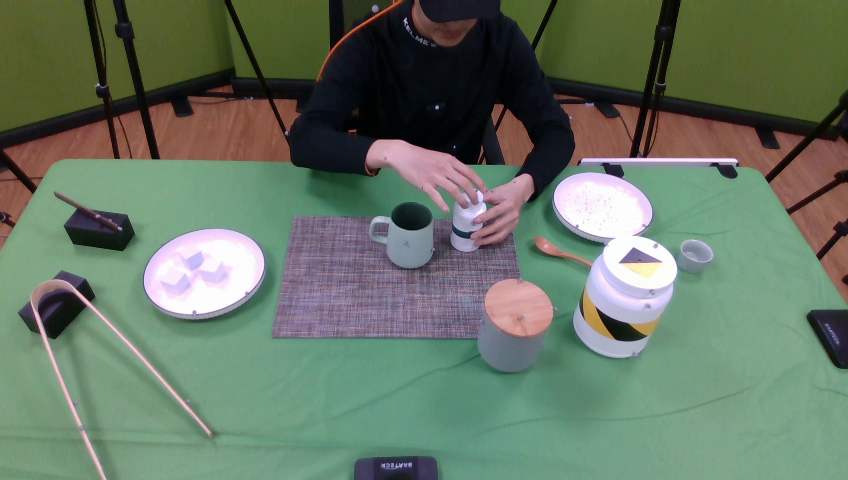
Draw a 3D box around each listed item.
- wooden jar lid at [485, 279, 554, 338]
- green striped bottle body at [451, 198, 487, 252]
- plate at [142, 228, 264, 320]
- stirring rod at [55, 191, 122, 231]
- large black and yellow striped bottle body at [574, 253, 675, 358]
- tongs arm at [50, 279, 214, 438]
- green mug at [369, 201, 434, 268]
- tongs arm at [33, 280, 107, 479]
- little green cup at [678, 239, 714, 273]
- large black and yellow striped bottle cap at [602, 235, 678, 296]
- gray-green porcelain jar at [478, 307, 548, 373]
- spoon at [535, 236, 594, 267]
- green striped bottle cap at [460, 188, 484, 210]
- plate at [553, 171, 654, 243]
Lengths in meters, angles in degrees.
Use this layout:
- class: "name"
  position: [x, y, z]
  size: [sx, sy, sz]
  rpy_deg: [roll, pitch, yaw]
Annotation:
- class: "wooden jar lid"
  position: [0.147, 0.108, 0.940]
  size: [0.108, 0.021, 0.107]
  rpy_deg: [4, 47, -5]
- class: "green striped bottle body"
  position: [0.087, -0.039, 1.166]
  size: [0.063, 0.120, 0.063]
  rpy_deg: [2, 46, -2]
- class: "plate"
  position: [-0.394, 0.064, 1.095]
  size: [0.208, 0.039, 0.206]
  rpy_deg: [2, 46, -2]
- class: "stirring rod"
  position: [-0.632, -0.055, 1.138]
  size: [0.175, 0.014, 0.006]
  rpy_deg: [24, 50, 19]
- class: "large black and yellow striped bottle body"
  position: [0.335, 0.096, 1.014]
  size: [0.131, 0.185, 0.130]
  rpy_deg: [2, 46, -2]
- class: "tongs arm"
  position: [-0.459, 0.178, 0.949]
  size: [0.386, 0.028, 0.028]
  rpy_deg: [38, 60, 17]
- class: "green mug"
  position: [-0.041, -0.011, 1.140]
  size: [0.125, 0.105, 0.092]
  rpy_deg: [8, 47, 5]
- class: "tongs arm"
  position: [-0.517, 0.214, 0.909]
  size: [0.051, 0.026, 0.383]
  rpy_deg: [-29, 63, -27]
- class: "little green cup"
  position: [0.531, 0.033, 1.190]
  size: [0.061, 0.039, 0.061]
  rpy_deg: [2, 47, -2]
- class: "large black and yellow striped bottle cap"
  position: [0.340, 0.038, 0.956]
  size: [0.115, 0.019, 0.114]
  rpy_deg: [2, 47, -2]
- class: "gray-green porcelain jar"
  position: [0.144, 0.148, 0.989]
  size: [0.106, 0.127, 0.105]
  rpy_deg: [2, 50, -2]
- class: "spoon"
  position: [0.303, 0.040, 1.178]
  size: [0.193, 0.022, 0.041]
  rpy_deg: [25, 31, 19]
- class: "green striped bottle cap"
  position: [0.089, -0.076, 1.126]
  size: [0.044, 0.020, 0.044]
  rpy_deg: [1, 45, -1]
- class: "plate"
  position: [0.374, -0.066, 1.275]
  size: [0.209, 0.038, 0.208]
  rpy_deg: [2, 46, -2]
